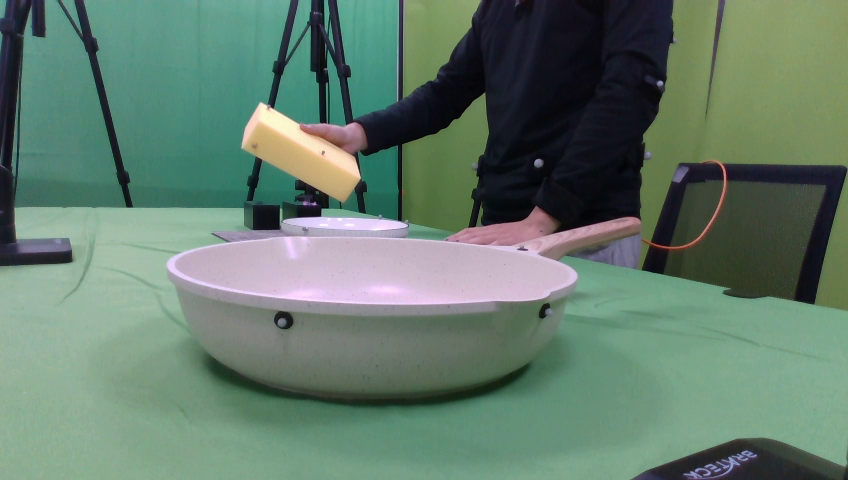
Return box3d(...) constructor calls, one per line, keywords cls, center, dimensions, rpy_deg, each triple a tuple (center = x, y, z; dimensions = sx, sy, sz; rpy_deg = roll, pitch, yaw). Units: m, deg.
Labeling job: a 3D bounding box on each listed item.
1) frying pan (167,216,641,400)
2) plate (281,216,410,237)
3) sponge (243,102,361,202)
box3d(cls="frying pan", center=(0.046, 0.024, 0.519), dimensions=(0.490, 0.102, 0.305), rpy_deg=(-14, 16, -37))
box3d(cls="plate", center=(-0.126, -0.012, 0.986), dimensions=(0.208, 0.039, 0.207), rpy_deg=(2, 7, 0))
box3d(cls="sponge", center=(-0.225, -0.162, 1.120), dimensions=(0.208, 0.061, 0.118), rpy_deg=(28, 18, -26))
